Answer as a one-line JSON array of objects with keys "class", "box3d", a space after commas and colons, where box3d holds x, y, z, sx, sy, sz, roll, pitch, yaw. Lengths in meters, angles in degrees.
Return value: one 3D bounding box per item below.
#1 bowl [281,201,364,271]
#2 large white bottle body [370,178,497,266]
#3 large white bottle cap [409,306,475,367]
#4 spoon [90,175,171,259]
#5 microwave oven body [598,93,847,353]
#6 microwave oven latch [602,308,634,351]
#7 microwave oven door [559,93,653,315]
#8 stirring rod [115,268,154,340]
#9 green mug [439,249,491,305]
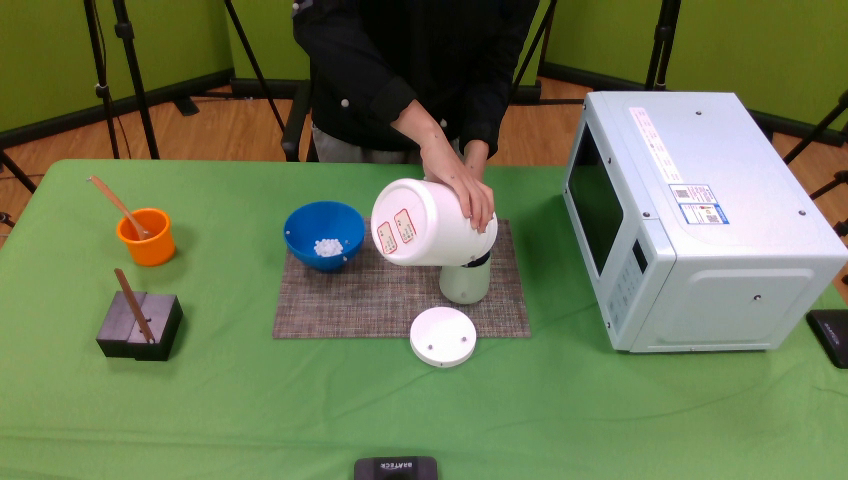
[{"class": "bowl", "box3d": [-0.187, 0.005, 1.137, 0.151, 0.077, 0.150, 3, 46, -3]}, {"class": "large white bottle body", "box3d": [0.021, -0.024, 0.959, 0.185, 0.131, 0.130, 4, 34, -49]}, {"class": "large white bottle cap", "box3d": [0.031, 0.164, 1.040, 0.115, 0.018, 0.114, 3, 50, -3]}, {"class": "spoon", "box3d": [-0.539, -0.042, 1.112, 0.021, 0.194, 0.041, -12, 28, 53]}, {"class": "microwave oven body", "box3d": [0.475, -0.041, 1.109, 0.326, 0.261, 0.438, -1, 45, -4]}, {"class": "microwave oven latch", "box3d": [0.332, 0.153, 1.044, 0.030, 0.029, 0.078, -1, 45, -4]}, {"class": "microwave oven door", "box3d": [0.327, -0.074, 1.123, 0.039, 0.245, 0.353, -1, 46, -5]}, {"class": "stirring rod", "box3d": [-0.479, 0.103, 0.999, 0.014, 0.006, 0.175, 8, 32, -49]}, {"class": "green mug", "box3d": [0.072, 0.044, 1.101, 0.092, 0.105, 0.124, -6, 47, -9]}]
